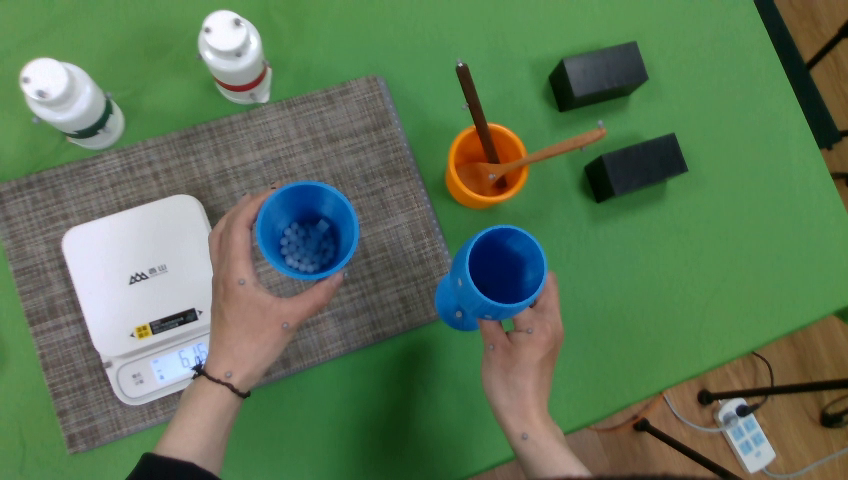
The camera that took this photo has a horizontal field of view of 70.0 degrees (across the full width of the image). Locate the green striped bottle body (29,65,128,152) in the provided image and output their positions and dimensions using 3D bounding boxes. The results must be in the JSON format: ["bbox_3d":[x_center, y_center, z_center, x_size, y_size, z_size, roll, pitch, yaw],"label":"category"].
[{"bbox_3d":[-0.360,-0.138,0.631,0.063,0.119,0.063,1,81,-8],"label":"green striped bottle body"}]

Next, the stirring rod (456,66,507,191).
[{"bbox_3d":[0.066,-0.118,0.674,0.014,0.178,0.005,-6,48,20],"label":"stirring rod"}]

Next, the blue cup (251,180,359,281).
[{"bbox_3d":[-0.106,0.000,0.551,0.093,0.100,0.092,2,81,-11],"label":"blue cup"}]

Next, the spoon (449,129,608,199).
[{"bbox_3d":[0.111,-0.085,0.677,0.022,0.193,0.041,-22,95,-54],"label":"spoon"}]

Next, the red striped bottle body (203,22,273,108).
[{"bbox_3d":[-0.202,-0.194,0.662,0.063,0.120,0.063,1,81,-8],"label":"red striped bottle body"}]

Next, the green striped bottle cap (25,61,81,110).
[{"bbox_3d":[-0.353,-0.147,0.577,0.044,0.020,0.044,1,82,-6],"label":"green striped bottle cap"}]

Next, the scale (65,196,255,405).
[{"bbox_3d":[-0.283,0.063,0.655,0.149,0.031,0.200,-20,86,-10],"label":"scale"}]

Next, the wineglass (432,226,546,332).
[{"bbox_3d":[0.050,0.040,0.524,0.074,0.172,0.073,2,76,-6],"label":"wineglass"}]

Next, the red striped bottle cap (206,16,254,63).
[{"bbox_3d":[-0.195,-0.202,0.610,0.044,0.018,0.044,1,79,-7],"label":"red striped bottle cap"}]
